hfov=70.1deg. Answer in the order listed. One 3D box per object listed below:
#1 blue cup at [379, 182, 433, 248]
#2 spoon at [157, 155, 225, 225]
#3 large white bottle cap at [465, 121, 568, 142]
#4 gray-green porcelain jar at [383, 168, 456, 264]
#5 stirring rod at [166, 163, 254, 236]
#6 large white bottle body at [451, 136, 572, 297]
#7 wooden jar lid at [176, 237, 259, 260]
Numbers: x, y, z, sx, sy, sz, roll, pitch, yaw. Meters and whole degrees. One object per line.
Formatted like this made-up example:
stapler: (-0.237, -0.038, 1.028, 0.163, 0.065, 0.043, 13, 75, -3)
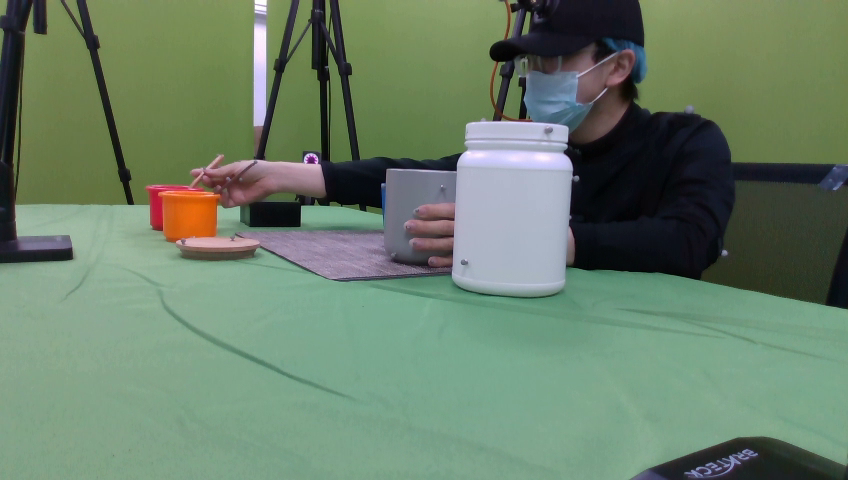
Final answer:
blue cup: (-0.030, -0.041, 0.979, 0.093, 0.100, 0.092, 3, 9, 0)
spoon: (-0.424, -0.094, 1.116, 0.041, 0.022, 0.194, 3, 51, 31)
large white bottle cap: (0.103, -0.120, 0.677, 0.115, 0.018, 0.115, 3, 7, 0)
gray-green porcelain jar: (-0.003, -0.034, 0.834, 0.106, 0.126, 0.106, 3, 7, 0)
stirring rod: (-0.341, -0.066, 0.967, 0.176, 0.006, 0.014, -42, 24, -9)
large white bottle body: (0.099, -0.037, 0.688, 0.131, 0.184, 0.130, 2, 7, 0)
wooden jar lid: (-0.283, 0.012, 0.834, 0.108, 0.020, 0.108, 1, 8, 0)
